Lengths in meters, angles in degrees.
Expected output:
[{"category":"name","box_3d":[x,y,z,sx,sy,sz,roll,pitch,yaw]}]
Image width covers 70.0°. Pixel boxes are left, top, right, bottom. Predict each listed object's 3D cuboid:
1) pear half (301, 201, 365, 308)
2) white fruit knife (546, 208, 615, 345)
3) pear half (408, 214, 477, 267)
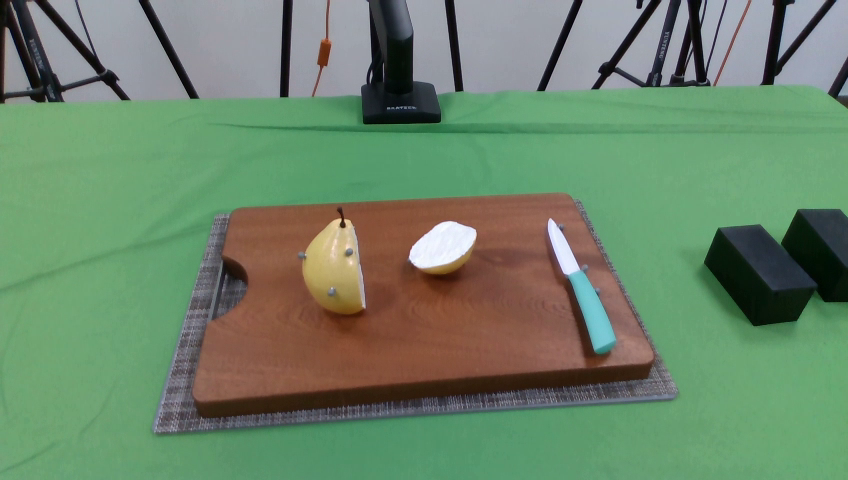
[{"category":"pear half","box_3d":[-0.084,0.010,0.548,0.056,0.111,0.075,-9,38,-11]},{"category":"white fruit knife","box_3d":[0.152,0.027,0.608,0.027,0.016,0.205,10,37,-14]},{"category":"pear half","box_3d":[0.022,0.005,0.617,0.070,0.031,0.087,-8,25,12]}]
